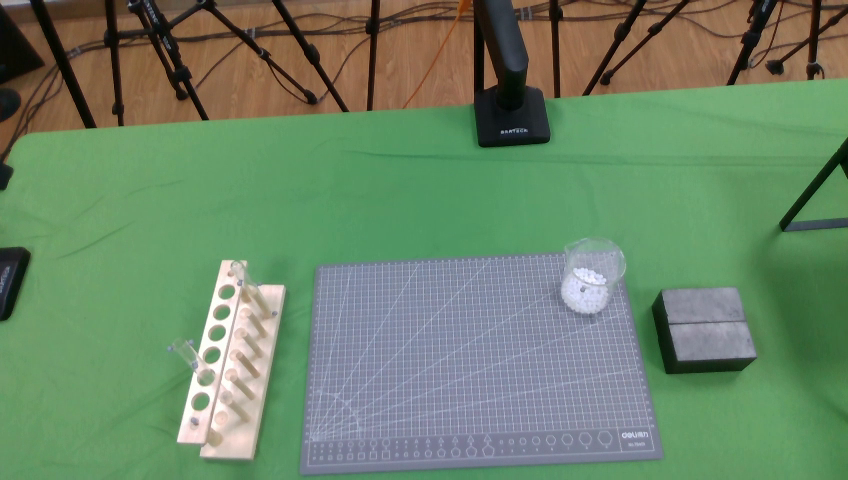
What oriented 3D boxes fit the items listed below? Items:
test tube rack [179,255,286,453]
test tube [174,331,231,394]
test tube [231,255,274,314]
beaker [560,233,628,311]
[{"bbox_3d":[-0.244,0.146,0.796,0.067,0.086,0.240,1,60,4],"label":"test tube rack"},{"bbox_3d":[-0.266,0.153,0.736,0.017,0.151,0.017,-3,53,4],"label":"test tube"},{"bbox_3d":[-0.223,0.060,0.793,0.017,0.152,0.017,-1,59,2],"label":"test tube"},{"bbox_3d":[0.223,0.046,0.820,0.083,0.101,0.074,30,65,21],"label":"beaker"}]
